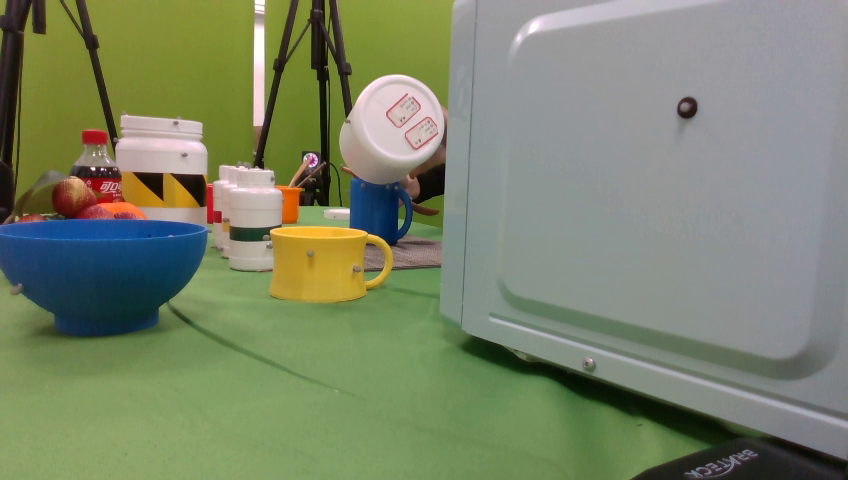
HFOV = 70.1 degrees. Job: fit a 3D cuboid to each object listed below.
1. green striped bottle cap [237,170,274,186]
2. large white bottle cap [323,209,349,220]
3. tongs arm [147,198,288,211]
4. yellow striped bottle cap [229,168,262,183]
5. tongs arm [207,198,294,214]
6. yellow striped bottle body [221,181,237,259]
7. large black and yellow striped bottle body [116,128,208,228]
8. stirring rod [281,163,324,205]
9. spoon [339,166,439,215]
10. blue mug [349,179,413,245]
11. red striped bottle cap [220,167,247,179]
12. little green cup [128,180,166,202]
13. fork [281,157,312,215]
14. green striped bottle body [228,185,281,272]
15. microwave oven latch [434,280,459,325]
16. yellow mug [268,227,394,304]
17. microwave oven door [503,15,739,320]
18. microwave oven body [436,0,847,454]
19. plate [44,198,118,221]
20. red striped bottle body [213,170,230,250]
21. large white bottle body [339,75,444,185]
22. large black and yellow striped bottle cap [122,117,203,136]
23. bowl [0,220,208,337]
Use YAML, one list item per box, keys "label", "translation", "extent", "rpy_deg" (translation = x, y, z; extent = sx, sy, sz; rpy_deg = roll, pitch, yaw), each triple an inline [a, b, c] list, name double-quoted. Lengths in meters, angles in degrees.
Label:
- label: "green striped bottle cap"
  translation: [-0.205, -0.075, 0.737]
  extent: [0.044, 0.020, 0.044]
  rpy_deg: [1, 6, 0]
- label: "large white bottle cap"
  translation: [-0.184, -0.062, 1.449]
  extent: [0.115, 0.018, 0.115]
  rpy_deg: [2, 8, 0]
- label: "tongs arm"
  translation: [-0.503, -0.090, 1.513]
  extent: [0.028, 0.028, 0.389]
  rpy_deg: [-1, 3, 38]
- label: "yellow striped bottle cap"
  translation: [-0.240, -0.087, 0.816]
  extent: [0.044, 0.018, 0.044]
  rpy_deg: [-4, 5, 1]
- label: "tongs arm"
  translation: [-0.423, -0.084, 1.473]
  extent: [0.050, 0.026, 0.386]
  rpy_deg: [1, 6, 22]
- label: "yellow striped bottle body"
  translation: [-0.244, -0.035, 0.823]
  extent: [0.063, 0.120, 0.063]
  rpy_deg: [2, 8, 0]
- label: "large black and yellow striped bottle body"
  translation: [-0.404, -0.089, 0.937]
  extent: [0.131, 0.184, 0.130]
  rpy_deg: [3, 7, 0]
- label: "stirring rod"
  translation: [-0.278, -0.105, 1.293]
  extent: [0.176, 0.006, 0.014]
  rpy_deg: [-47, 25, -18]
- label: "spoon"
  translation: [-0.062, -0.088, 1.065]
  extent: [0.193, 0.021, 0.041]
  rpy_deg: [29, -6, 4]
- label: "blue mug"
  translation: [-0.069, -0.047, 1.001]
  extent: [0.116, 0.106, 0.083]
  rpy_deg: [6, 9, 28]
- label: "red striped bottle cap"
  translation: [-0.281, -0.099, 0.901]
  extent: [0.044, 0.017, 0.044]
  rpy_deg: [-1, 5, 0]
- label: "little green cup"
  translation: [-0.485, -0.087, 1.062]
  extent: [0.061, 0.038, 0.061]
  rpy_deg: [-1, 6, 0]
- label: "fork"
  translation: [-0.290, -0.116, 1.321]
  extent: [0.028, 0.018, 0.207]
  rpy_deg: [7, 52, 18]
- label: "green striped bottle body"
  translation: [-0.208, -0.024, 0.745]
  extent: [0.063, 0.119, 0.063]
  rpy_deg: [2, 7, 0]
- label: "microwave oven latch"
  translation: [0.044, 0.045, 0.470]
  extent: [0.079, 0.029, 0.030]
  rpy_deg: [-2, 8, -39]
- label: "yellow mug"
  translation: [-0.094, 0.023, 0.629]
  extent: [0.131, 0.064, 0.099]
  rpy_deg: [0, 7, -22]
- label: "microwave oven door"
  translation: [0.218, -0.065, 0.600]
  extent: [0.358, 0.243, 0.039]
  rpy_deg: [-4, 10, -41]
- label: "microwave oven body"
  translation: [0.279, -0.040, 0.464]
  extent: [0.444, 0.260, 0.324]
  rpy_deg: [-3, 9, -41]
- label: "plate"
  translation: [-0.617, -0.056, 1.179]
  extent: [0.209, 0.038, 0.209]
  rpy_deg: [3, 7, 0]
- label: "red striped bottle body"
  translation: [-0.284, -0.047, 0.909]
  extent: [0.063, 0.119, 0.063]
  rpy_deg: [3, 14, 0]
- label: "large white bottle body"
  translation: [-0.056, -0.156, 0.909]
  extent: [0.131, 0.130, 0.184]
  rpy_deg: [0, -6, -16]
- label: "large black and yellow striped bottle cap"
  translation: [-0.399, -0.174, 0.927]
  extent: [0.115, 0.019, 0.115]
  rpy_deg: [5, 9, -1]
- label: "bowl"
  translation: [-0.251, 0.029, 0.479]
  extent: [0.151, 0.077, 0.151]
  rpy_deg: [2, 7, 0]
